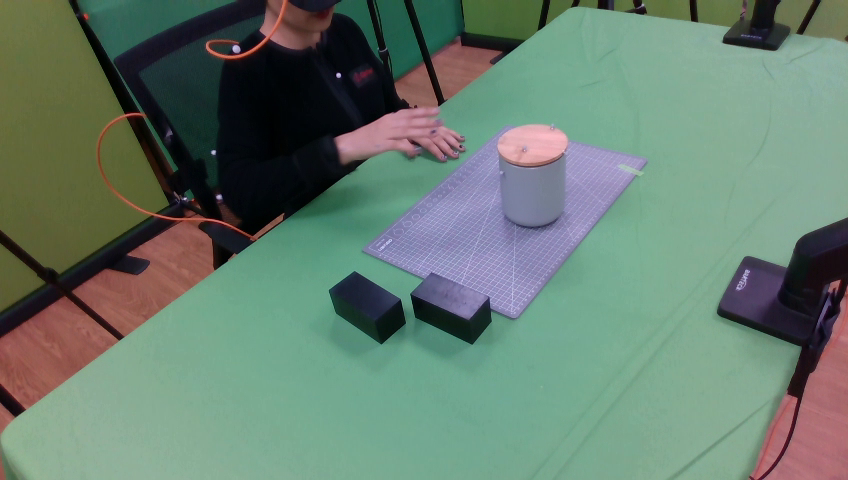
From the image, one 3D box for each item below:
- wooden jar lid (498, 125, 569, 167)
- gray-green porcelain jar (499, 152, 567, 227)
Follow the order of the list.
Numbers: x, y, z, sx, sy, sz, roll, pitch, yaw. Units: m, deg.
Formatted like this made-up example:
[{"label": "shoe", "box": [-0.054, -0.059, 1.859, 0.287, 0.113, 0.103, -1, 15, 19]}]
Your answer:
[{"label": "wooden jar lid", "box": [0.168, -0.143, 0.933, 0.108, 0.021, 0.108, -5, 41, 4]}, {"label": "gray-green porcelain jar", "box": [0.177, -0.093, 0.974, 0.106, 0.127, 0.105, -5, 40, 5]}]
